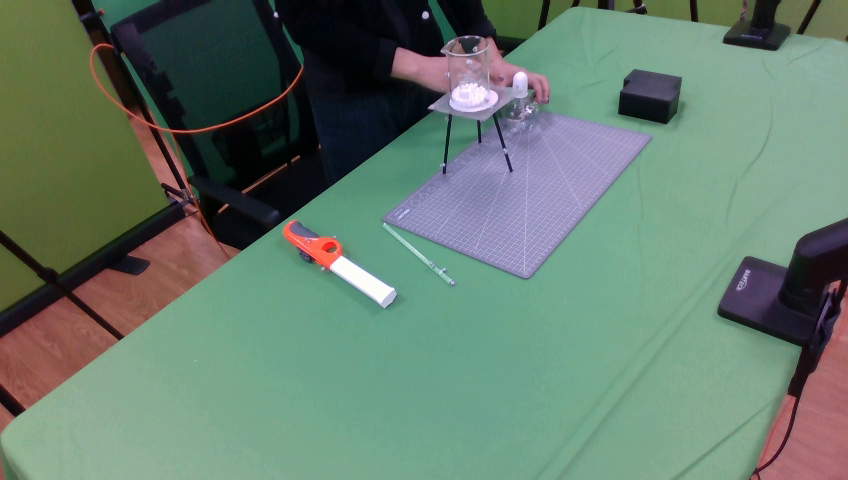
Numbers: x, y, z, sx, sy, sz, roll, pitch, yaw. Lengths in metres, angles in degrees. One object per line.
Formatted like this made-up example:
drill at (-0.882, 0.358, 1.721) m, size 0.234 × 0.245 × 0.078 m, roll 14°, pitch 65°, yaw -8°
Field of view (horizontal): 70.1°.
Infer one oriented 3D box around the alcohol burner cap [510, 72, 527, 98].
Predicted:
alcohol burner cap at (0.185, -0.303, 1.171) m, size 0.034 × 0.048 × 0.033 m, roll -1°, pitch 42°, yaw 1°

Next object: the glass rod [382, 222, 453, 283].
glass rod at (-0.014, 0.016, 0.976) m, size 0.008 × 0.008 × 0.198 m, roll -30°, pitch 44°, yaw -22°

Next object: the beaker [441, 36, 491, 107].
beaker at (0.074, -0.287, 1.036) m, size 0.084 × 0.101 × 0.073 m, roll -1°, pitch 41°, yaw 8°

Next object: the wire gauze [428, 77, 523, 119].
wire gauze at (0.090, -0.249, 1.063) m, size 0.120 × 0.011 × 0.125 m, roll 24°, pitch 48°, yaw 30°

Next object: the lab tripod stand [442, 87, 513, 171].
lab tripod stand at (0.097, -0.201, 1.108) m, size 0.148 × 0.132 × 0.147 m, roll -4°, pitch 40°, yaw 4°

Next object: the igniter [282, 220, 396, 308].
igniter at (-0.146, 0.032, 0.966) m, size 0.274 × 0.025 × 0.057 m, roll 30°, pitch 64°, yaw 37°

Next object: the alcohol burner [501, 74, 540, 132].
alcohol burner at (0.190, -0.275, 1.194) m, size 0.078 × 0.119 × 0.077 m, roll -4°, pitch 42°, yaw 4°
